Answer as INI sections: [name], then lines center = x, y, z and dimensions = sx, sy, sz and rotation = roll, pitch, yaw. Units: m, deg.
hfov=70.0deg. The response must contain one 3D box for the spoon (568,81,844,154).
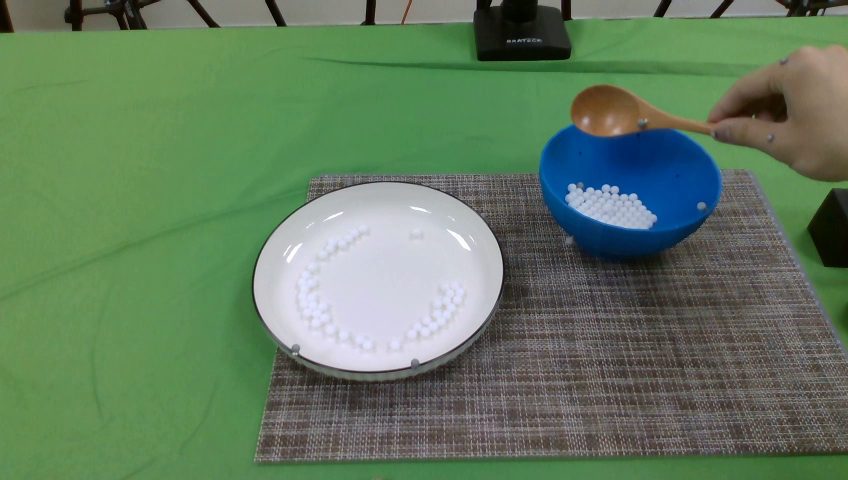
[spoon]
center = 0.204, -0.087, 0.456
dimensions = 0.192, 0.042, 0.022
rotation = 18, 20, 27

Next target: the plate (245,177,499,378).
[plate]
center = -0.042, 0.029, 0.513
dimensions = 0.208, 0.039, 0.205
rotation = 0, 48, 1

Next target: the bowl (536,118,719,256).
[bowl]
center = 0.171, -0.039, 0.541
dimensions = 0.151, 0.077, 0.150
rotation = 0, 48, 1
